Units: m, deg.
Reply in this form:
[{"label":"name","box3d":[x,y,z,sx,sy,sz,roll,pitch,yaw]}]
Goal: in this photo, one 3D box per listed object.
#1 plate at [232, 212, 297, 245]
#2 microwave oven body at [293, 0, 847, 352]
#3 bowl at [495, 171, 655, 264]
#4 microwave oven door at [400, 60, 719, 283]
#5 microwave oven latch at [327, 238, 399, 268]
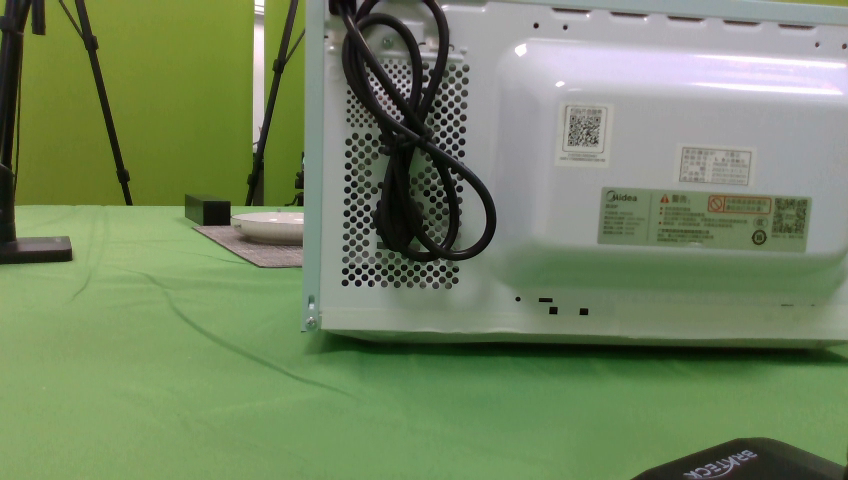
[{"label":"plate","box3d":[-0.214,-0.019,1.018,0.208,0.039,0.207,3,7,0]},{"label":"microwave oven body","box3d":[0.122,-0.055,0.550,0.442,0.260,0.325,3,7,-5]},{"label":"bowl","box3d":[0.144,-0.023,0.592,0.151,0.077,0.151,1,11,0]},{"label":"microwave oven door","box3d":[0.154,-0.079,0.709,0.356,0.243,0.039,2,8,-1]},{"label":"microwave oven latch","box3d":[-0.069,0.015,0.694,0.079,0.029,0.030,3,7,-3]}]
